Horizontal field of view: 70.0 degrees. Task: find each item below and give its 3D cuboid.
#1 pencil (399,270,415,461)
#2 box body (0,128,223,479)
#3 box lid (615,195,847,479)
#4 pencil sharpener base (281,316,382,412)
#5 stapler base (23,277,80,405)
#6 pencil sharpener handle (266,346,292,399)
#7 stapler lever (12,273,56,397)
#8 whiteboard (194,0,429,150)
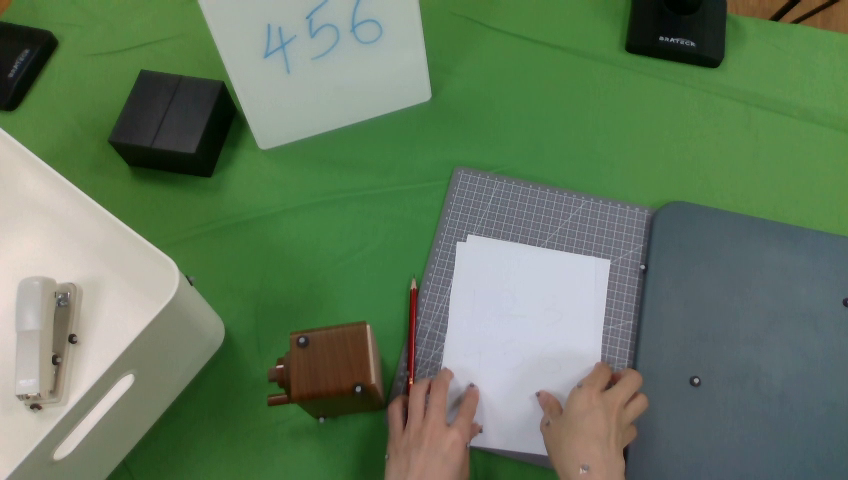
[{"bbox_3d":[-0.015,0.119,0.605,0.012,0.012,0.192,1,66,1],"label":"pencil"},{"bbox_3d":[-0.402,0.056,0.553,0.362,0.161,0.253,33,71,14],"label":"box body"},{"bbox_3d":[0.336,0.134,0.598,0.263,0.015,0.369,13,67,5],"label":"box lid"},{"bbox_3d":[-0.082,0.117,0.555,0.077,0.108,0.061,-8,66,-2],"label":"pencil sharpener base"},{"bbox_3d":[-0.375,0.096,0.604,0.041,0.024,0.129,-6,68,-1],"label":"stapler base"},{"bbox_3d":[-0.132,0.123,0.539,0.030,0.068,0.035,-8,50,-2],"label":"pencil sharpener handle"},{"bbox_3d":[-0.375,0.088,0.580,0.027,0.040,0.117,-7,69,0],"label":"stapler lever"},{"bbox_3d":[-0.134,-0.288,0.659,0.217,0.308,0.142,-18,48,-7],"label":"whiteboard"}]
